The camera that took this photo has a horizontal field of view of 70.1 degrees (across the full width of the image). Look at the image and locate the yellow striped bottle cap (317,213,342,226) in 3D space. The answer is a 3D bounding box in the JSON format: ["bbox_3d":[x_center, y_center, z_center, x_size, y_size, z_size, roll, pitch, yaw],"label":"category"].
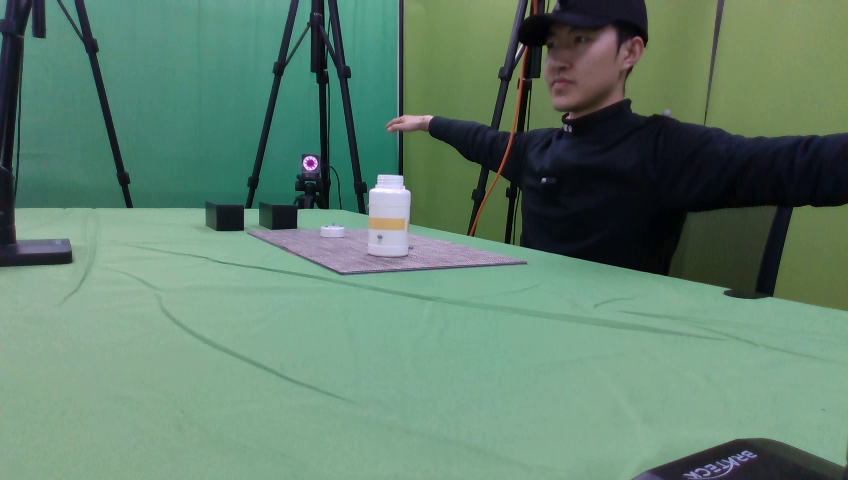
[{"bbox_3d":[-0.171,-0.038,1.102,0.044,0.018,0.044,-4,14,1],"label":"yellow striped bottle cap"}]

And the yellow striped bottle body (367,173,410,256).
[{"bbox_3d":[-0.052,-0.040,0.901,0.063,0.120,0.063,2,7,0],"label":"yellow striped bottle body"}]
